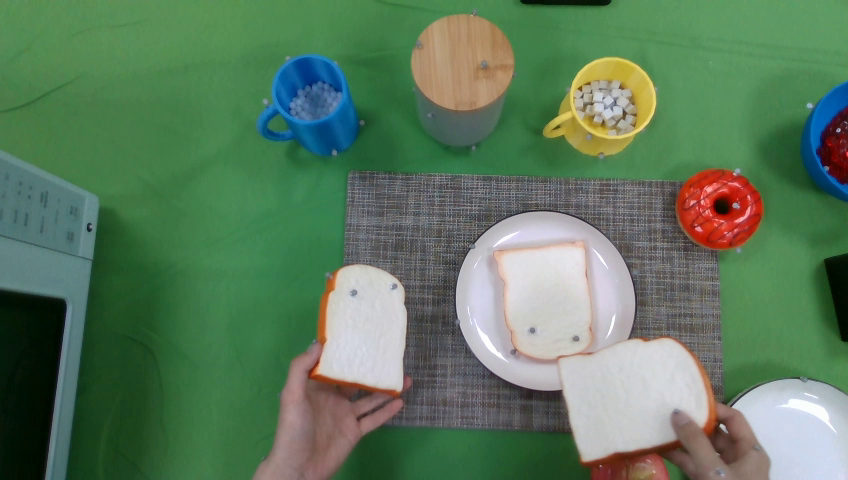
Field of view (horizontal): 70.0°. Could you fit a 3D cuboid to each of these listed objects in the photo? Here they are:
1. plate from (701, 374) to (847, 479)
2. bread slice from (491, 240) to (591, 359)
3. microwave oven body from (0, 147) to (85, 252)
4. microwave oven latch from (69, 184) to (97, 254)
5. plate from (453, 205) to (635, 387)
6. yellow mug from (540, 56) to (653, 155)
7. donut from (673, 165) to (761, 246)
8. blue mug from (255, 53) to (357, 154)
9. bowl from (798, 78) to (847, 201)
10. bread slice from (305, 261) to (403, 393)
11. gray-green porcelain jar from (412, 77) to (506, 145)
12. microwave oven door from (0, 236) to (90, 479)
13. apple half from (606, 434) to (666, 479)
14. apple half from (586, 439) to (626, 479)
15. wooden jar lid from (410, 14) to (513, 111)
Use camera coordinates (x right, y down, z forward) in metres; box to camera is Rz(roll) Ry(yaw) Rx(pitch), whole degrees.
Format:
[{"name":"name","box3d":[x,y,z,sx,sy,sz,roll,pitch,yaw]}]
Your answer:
[{"name":"plate","box3d":[0.409,0.254,0.674,0.209,0.038,0.208,0,81,1]},{"name":"bread slice","box3d":[0.142,0.069,0.704,0.107,0.018,0.133,-9,80,-1]},{"name":"microwave oven body","box3d":[-0.560,0.128,0.584,0.326,0.261,0.440,2,81,1]},{"name":"microwave oven latch","box3d":[-0.404,-0.024,0.705,0.030,0.029,0.079,5,81,1]},{"name":"plate","box3d":[0.136,0.064,0.703,0.208,0.039,0.207,0,81,1]},{"name":"yellow mug","box3d":[0.201,-0.154,0.728,0.131,0.064,0.099,-22,81,-3]},{"name":"donut","box3d":[0.344,-0.040,0.715,0.099,0.048,0.098,0,81,1]},{"name":"blue mug","box3d":[-0.141,-0.150,0.709,0.116,0.106,0.082,-24,81,-3]},{"name":"bowl","box3d":[0.504,-0.108,0.712,0.151,0.077,0.151,0,81,1]},{"name":"bread slice","box3d":[-0.067,0.086,0.632,0.106,0.019,0.130,18,65,-33]},{"name":"gray-green porcelain jar","box3d":[0.040,-0.174,0.702,0.106,0.127,0.105,0,80,1]},{"name":"microwave oven door","box3d":[-0.417,0.174,0.571,0.039,0.244,0.354,2,80,1]},{"name":"apple half","box3d":[0.232,0.251,0.659,0.053,0.075,0.080,-7,78,-5]},{"name":"apple half","box3d":[0.193,0.257,0.657,0.033,0.081,0.081,-5,80,-5]},{"name":"wooden jar lid","box3d":[0.039,-0.185,0.641,0.108,0.021,0.108,0,79,1]}]
